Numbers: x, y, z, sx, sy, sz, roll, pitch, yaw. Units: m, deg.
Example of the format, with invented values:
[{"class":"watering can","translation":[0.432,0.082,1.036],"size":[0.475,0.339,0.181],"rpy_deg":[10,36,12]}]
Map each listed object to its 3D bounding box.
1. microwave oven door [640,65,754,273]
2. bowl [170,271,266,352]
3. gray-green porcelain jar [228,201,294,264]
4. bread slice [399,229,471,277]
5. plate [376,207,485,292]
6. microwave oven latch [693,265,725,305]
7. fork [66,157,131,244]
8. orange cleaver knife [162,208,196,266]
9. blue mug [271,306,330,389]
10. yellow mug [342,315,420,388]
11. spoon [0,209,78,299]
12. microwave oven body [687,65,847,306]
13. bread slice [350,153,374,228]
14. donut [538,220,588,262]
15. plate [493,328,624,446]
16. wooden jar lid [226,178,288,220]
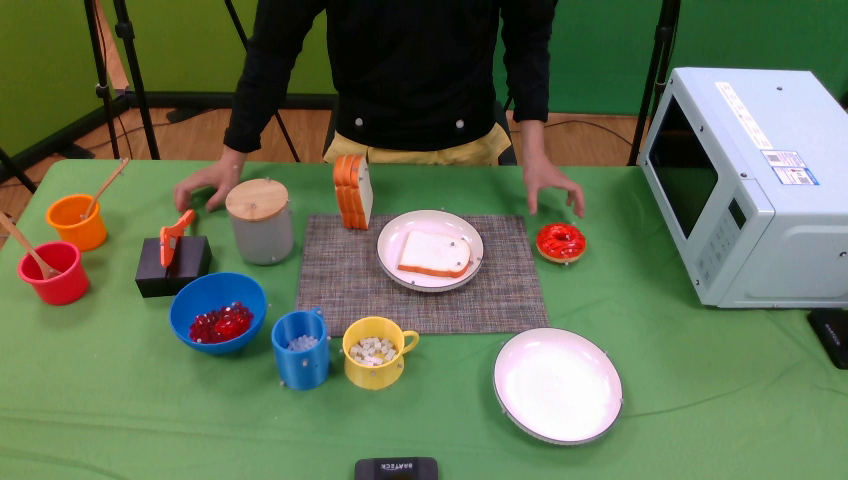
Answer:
[{"class":"microwave oven door","translation":[0.523,-0.147,1.193],"size":[0.039,0.245,0.353],"rpy_deg":[0,47,-3]},{"class":"bowl","translation":[-0.333,0.132,1.006],"size":[0.151,0.077,0.150],"rpy_deg":[2,46,-2]},{"class":"gray-green porcelain jar","translation":[-0.299,-0.027,1.126],"size":[0.106,0.127,0.105],"rpy_deg":[2,46,-2]},{"class":"bread slice","translation":[0.025,0.025,1.161],"size":[0.131,0.019,0.104],"rpy_deg":[7,48,8]},{"class":"plate","translation":[0.012,0.021,1.159],"size":[0.209,0.038,0.208],"rpy_deg":[2,47,-2]},{"class":"microwave oven latch","translation":[0.523,0.081,1.115],"size":[0.030,0.029,0.078],"rpy_deg":[2,46,-1]},{"class":"fork","translation":[-0.608,-0.074,1.132],"size":[0.207,0.019,0.028],"rpy_deg":[-52,48,10]},{"class":"orange cleaver knife","translation":[-0.454,-0.010,1.129],"size":[0.012,0.077,0.210],"rpy_deg":[-1,17,-6]},{"class":"blue mug","translation":[-0.188,0.163,0.969],"size":[0.082,0.106,0.116],"rpy_deg":[15,47,10]},{"class":"yellow mug","translation":[-0.068,0.177,0.990],"size":[0.131,0.064,0.099],"rpy_deg":[-15,50,-19]},{"class":"spoon","translation":[-0.668,0.021,1.040],"size":[0.041,0.021,0.194],"rpy_deg":[-41,105,-29]},{"class":"microwave oven body","translation":[0.669,-0.111,1.176],"size":[0.326,0.261,0.439],"rpy_deg":[0,46,-3]},{"class":"bread slice","translation":[-0.124,-0.104,1.207],"size":[0.018,0.135,0.106],"rpy_deg":[-1,48,7]},{"class":"donut","translation":[0.273,0.001,1.198],"size":[0.099,0.048,0.098],"rpy_deg":[0,46,1]},{"class":"plate","translation":[0.213,0.236,0.974],"size":[0.208,0.039,0.206],"rpy_deg":[2,46,-2]},{"class":"wooden jar lid","translation":[-0.296,-0.070,1.081],"size":[0.108,0.021,0.107],"rpy_deg":[1,45,-1]}]
